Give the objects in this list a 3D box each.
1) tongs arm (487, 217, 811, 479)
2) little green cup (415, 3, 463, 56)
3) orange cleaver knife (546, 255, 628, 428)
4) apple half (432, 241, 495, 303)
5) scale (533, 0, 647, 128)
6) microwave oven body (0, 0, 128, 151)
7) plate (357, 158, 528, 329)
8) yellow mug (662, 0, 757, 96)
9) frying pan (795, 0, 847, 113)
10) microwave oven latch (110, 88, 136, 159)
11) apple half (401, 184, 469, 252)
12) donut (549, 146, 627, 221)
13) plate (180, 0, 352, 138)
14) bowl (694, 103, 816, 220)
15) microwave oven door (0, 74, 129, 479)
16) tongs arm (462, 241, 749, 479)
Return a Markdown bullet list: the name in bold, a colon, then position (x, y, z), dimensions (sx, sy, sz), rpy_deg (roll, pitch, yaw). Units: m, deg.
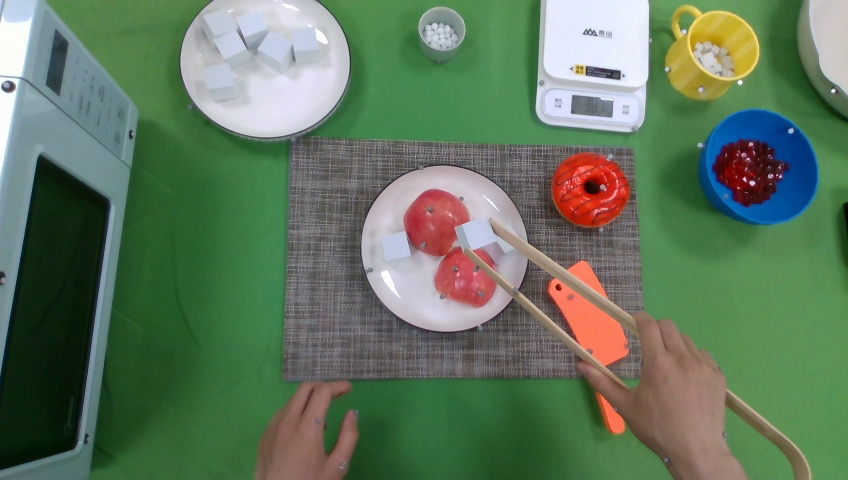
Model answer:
- **tongs arm**: position (0.210, 0.098, 0.608), dimensions (0.385, 0.028, 0.028), rpy_deg (40, 67, 17)
- **little green cup**: position (0.018, -0.274, 0.796), dimensions (0.061, 0.039, 0.061), rpy_deg (1, 79, -5)
- **orange cleaver knife**: position (0.215, 0.123, 0.751), dimensions (0.077, 0.012, 0.210), rpy_deg (-17, 80, -15)
- **apple half**: position (0.050, 0.035, 0.733), dimensions (0.081, 0.033, 0.081), rpy_deg (0, 82, -1)
- **scale**: position (0.225, -0.255, 0.817), dimensions (0.149, 0.031, 0.200), rpy_deg (5, 80, -5)
- **microwave oven body**: position (-0.506, 0.010, 0.572), dimensions (0.326, 0.260, 0.440), rpy_deg (3, 80, -6)
- **plate**: position (0.022, 0.005, 0.743), dimensions (0.209, 0.038, 0.208), rpy_deg (1, 80, -6)
- **yellow mug**: position (0.374, -0.267, 0.818), dimensions (0.100, 0.064, 0.130), rpy_deg (-32, 84, -10)
- **frying pan**: position (0.699, -0.200, 0.821), dimensions (0.307, 0.103, 0.485), rpy_deg (-26, 76, -9)
- **microwave oven latch**: position (-0.360, -0.137, 0.712), dimensions (0.030, 0.029, 0.079), rpy_deg (5, 80, -5)
- **apple half**: position (0.014, -0.032, 0.732), dimensions (0.081, 0.053, 0.074), rpy_deg (-43, 83, -12)
- **donut**: position (0.208, -0.072, 0.773), dimensions (0.099, 0.048, 0.098), rpy_deg (1, 80, -4)
- **plate**: position (-0.196, -0.225, 0.764), dimensions (0.208, 0.039, 0.207), rpy_deg (1, 80, -6)
- **bowl**: position (0.411, -0.092, 0.785), dimensions (0.151, 0.077, 0.151), rpy_deg (1, 80, -6)
- **microwave oven door**: position (-0.362, 0.059, 0.573), dimensions (0.039, 0.244, 0.354), rpy_deg (3, 79, -5)
- **tongs arm**: position (0.192, 0.116, 0.600), dimensions (0.050, 0.027, 0.382), rpy_deg (-41, 71, -17)
